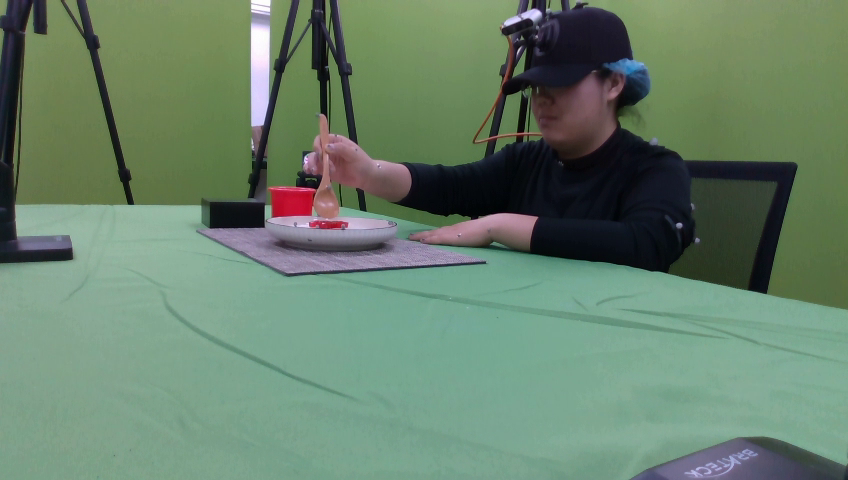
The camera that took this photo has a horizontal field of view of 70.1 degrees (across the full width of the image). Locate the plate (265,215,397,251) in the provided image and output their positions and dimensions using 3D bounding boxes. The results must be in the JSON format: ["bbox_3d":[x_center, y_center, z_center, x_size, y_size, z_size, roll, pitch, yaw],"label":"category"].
[{"bbox_3d":[-0.147,-0.012,0.963,0.209,0.038,0.209,3,7,0],"label":"plate"}]

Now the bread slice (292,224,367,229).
[{"bbox_3d":[-0.154,-0.013,0.972,0.132,0.019,0.104,-2,8,-31],"label":"bread slice"}]

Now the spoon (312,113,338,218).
[{"bbox_3d":[-0.158,-0.121,0.963,0.042,0.193,0.021,4,-21,-21],"label":"spoon"}]
